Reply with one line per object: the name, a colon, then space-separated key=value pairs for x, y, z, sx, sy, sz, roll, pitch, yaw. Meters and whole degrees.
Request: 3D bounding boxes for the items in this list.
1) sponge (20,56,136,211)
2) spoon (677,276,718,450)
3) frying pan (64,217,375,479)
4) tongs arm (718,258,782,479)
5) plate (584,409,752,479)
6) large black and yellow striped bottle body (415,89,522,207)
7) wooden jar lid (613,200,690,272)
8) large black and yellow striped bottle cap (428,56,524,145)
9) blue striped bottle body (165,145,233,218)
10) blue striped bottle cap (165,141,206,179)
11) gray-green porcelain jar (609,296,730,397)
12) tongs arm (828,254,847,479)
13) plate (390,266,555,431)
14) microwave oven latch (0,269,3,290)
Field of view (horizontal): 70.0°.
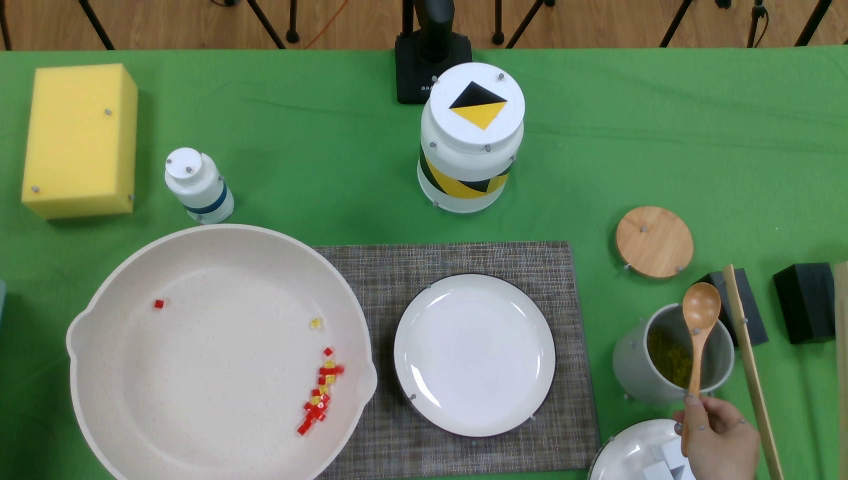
sponge: x=-0.470 y=-0.148 z=0.832 sx=0.118 sy=0.061 sz=0.205 roll=-6 pitch=71 yaw=-6
spoon: x=0.298 y=0.134 z=0.674 sx=0.041 sy=0.022 sz=0.192 roll=12 pitch=72 yaw=10
frying pan: x=-0.216 y=0.215 z=0.600 sx=0.308 sy=0.103 sz=0.484 roll=15 pitch=62 yaw=-18
tongs arm: x=0.429 y=0.209 z=0.747 sx=0.051 sy=0.026 sz=0.383 roll=-6 pitch=81 yaw=-8
plate: x=0.291 y=0.311 z=0.730 sx=0.208 sy=0.039 sz=0.206 roll=1 pitch=70 yaw=-3
large black and yellow striped bottle body: x=0.056 y=-0.137 z=0.800 sx=0.131 sy=0.185 sz=0.130 roll=1 pitch=69 yaw=-3
wooden jar lid: x=0.319 y=-0.005 z=0.857 sx=0.108 sy=0.021 sz=0.107 roll=1 pitch=71 yaw=-3
large black and yellow striped bottle cap: x=0.062 y=-0.168 z=0.722 sx=0.115 sy=0.019 sz=0.114 roll=1 pitch=71 yaw=-3
blue striped bottle body: x=-0.294 y=-0.080 z=0.788 sx=0.063 sy=0.121 sz=0.062 roll=1 pitch=69 yaw=-3
blue striped bottle cap: x=-0.292 y=-0.099 z=0.741 sx=0.044 sy=0.021 sz=0.044 roll=1 pitch=71 yaw=-3
gray-green porcelain jar: x=0.294 y=0.136 z=0.747 sx=0.106 sy=0.127 sz=0.105 roll=1 pitch=69 yaw=-3
tongs arm: x=0.513 y=0.207 z=0.755 sx=0.028 sy=0.028 sz=0.386 roll=9 pitch=79 yaw=-9
plate: x=0.061 y=0.136 z=0.774 sx=0.209 sy=0.038 sz=0.207 roll=1 pitch=70 yaw=-3
microwave oven latch: x=-0.540 y=0.069 z=0.741 sx=0.030 sy=0.029 sz=0.078 roll=-1 pitch=71 yaw=-4
